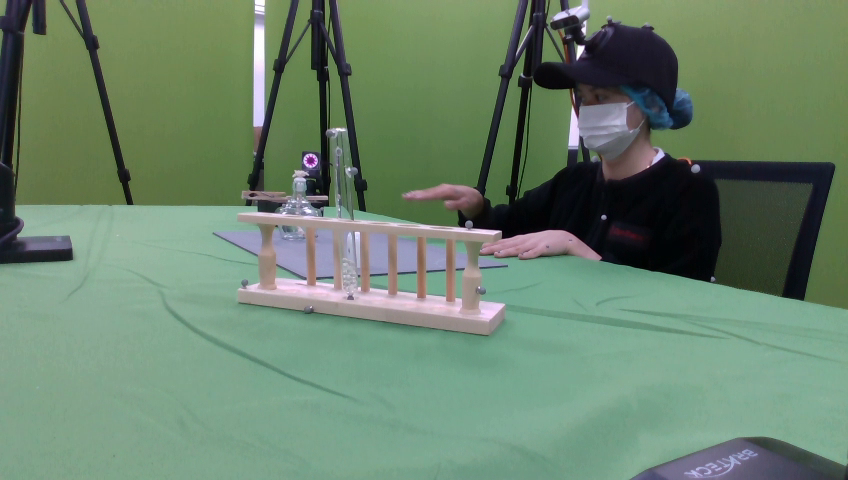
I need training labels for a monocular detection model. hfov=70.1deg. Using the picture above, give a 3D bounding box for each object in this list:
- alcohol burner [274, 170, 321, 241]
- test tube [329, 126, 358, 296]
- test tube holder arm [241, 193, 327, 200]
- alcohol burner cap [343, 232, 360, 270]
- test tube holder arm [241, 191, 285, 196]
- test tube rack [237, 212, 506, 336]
[{"bbox_3d":[-0.212,-0.058,1.015,0.078,0.119,0.078,4,5,0],"label":"alcohol burner"},{"bbox_3d":[-0.071,-0.025,0.535,0.017,0.150,0.017,-3,8,1],"label":"test tube"},{"bbox_3d":[-0.289,-0.091,1.261,0.179,0.013,0.015,-3,7,-29],"label":"test tube holder arm"},{"bbox_3d":[-0.087,0.013,0.777,0.034,0.048,0.034,3,7,0],"label":"alcohol burner cap"},{"bbox_3d":[-0.328,-0.095,1.238,0.088,0.010,0.015,-2,7,-29],"label":"test tube holder arm"},{"bbox_3d":[-0.049,0.024,0.552,0.242,0.085,0.067,5,8,19],"label":"test tube rack"}]
